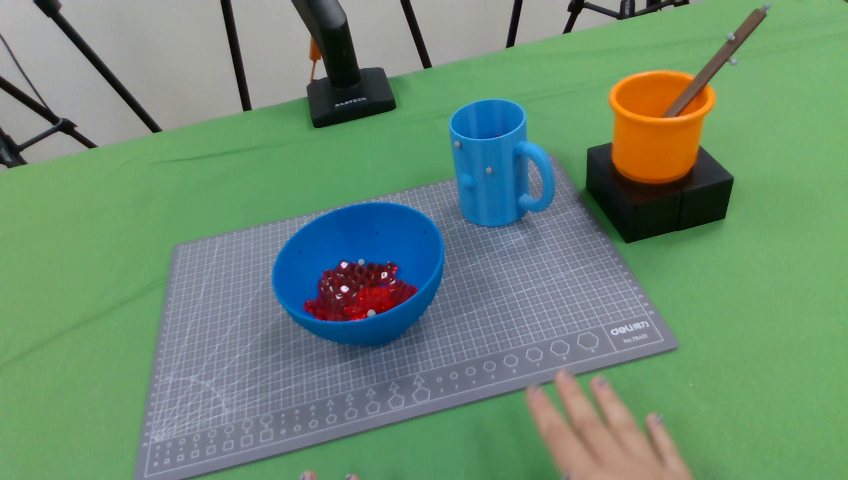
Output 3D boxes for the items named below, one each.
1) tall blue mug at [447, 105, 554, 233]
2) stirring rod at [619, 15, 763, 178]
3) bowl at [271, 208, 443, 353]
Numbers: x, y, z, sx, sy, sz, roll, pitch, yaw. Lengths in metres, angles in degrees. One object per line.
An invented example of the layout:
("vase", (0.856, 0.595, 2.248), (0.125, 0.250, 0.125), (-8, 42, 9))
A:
("tall blue mug", (0.082, -0.071, 0.621), (0.107, 0.109, 0.077), (4, 43, 17))
("stirring rod", (0.242, -0.128, 0.556), (0.176, 0.006, 0.014), (-53, 38, 18))
("bowl", (-0.052, 0.048, 0.542), (0.151, 0.077, 0.150), (-6, 41, 6))
